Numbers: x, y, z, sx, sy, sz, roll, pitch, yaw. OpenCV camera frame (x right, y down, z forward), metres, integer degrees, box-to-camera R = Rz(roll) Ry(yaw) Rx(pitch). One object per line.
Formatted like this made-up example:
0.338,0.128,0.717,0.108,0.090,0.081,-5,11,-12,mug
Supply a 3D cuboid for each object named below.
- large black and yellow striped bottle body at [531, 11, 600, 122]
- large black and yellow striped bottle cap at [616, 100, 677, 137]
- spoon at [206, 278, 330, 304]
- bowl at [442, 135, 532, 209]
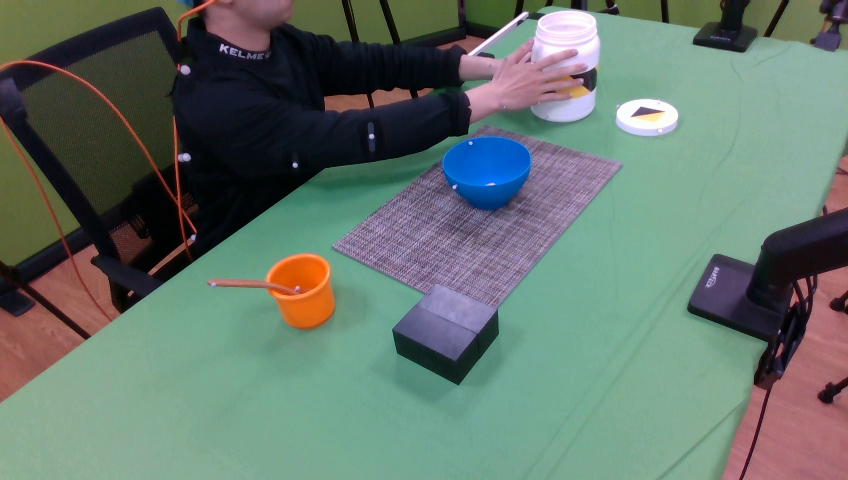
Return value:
0.279,-0.344,1.202,0.131,0.185,0.130,-4,41,4,large black and yellow striped bottle body
0.438,-0.241,1.190,0.115,0.019,0.114,-4,42,4,large black and yellow striped bottle cap
-0.207,0.066,0.824,0.041,0.195,0.021,34,100,41,spoon
0.108,-0.106,1.026,0.151,0.077,0.150,-4,41,4,bowl
